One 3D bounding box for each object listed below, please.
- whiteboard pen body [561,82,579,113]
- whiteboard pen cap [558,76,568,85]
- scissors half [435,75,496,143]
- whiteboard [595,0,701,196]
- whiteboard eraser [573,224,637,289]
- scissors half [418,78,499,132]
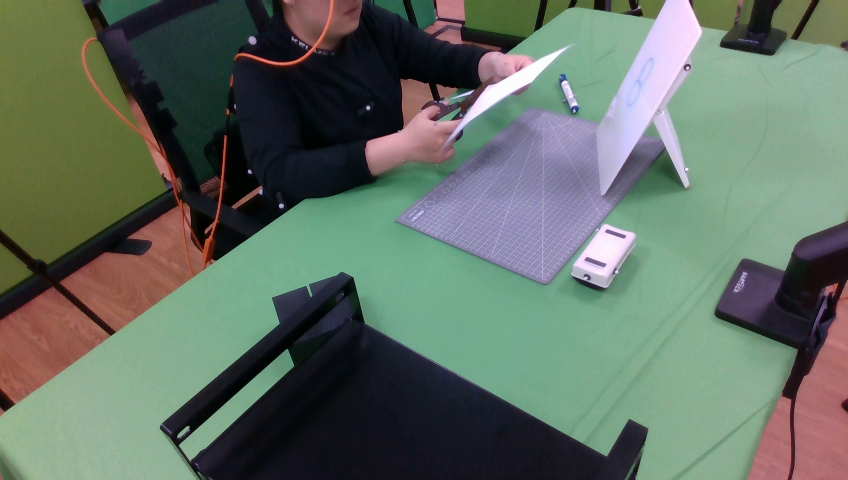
[{"bbox_3d":[0.310,-0.312,1.297,0.017,0.017,0.140,-6,42,3],"label":"whiteboard pen body"},{"bbox_3d":[0.310,-0.350,1.341,0.018,0.018,0.033,-6,41,2],"label":"whiteboard pen cap"},{"bbox_3d":[0.075,-0.231,1.078,0.040,0.174,0.013,17,49,-25],"label":"scissors half"},{"bbox_3d":[0.421,-0.227,1.010,0.144,0.305,0.216,18,42,-2],"label":"whiteboard"},{"bbox_3d":[0.267,0.025,0.891,0.055,0.042,0.113,19,47,31],"label":"whiteboard eraser"},{"bbox_3d":[0.059,-0.241,1.066,0.174,0.040,0.012,-25,43,28],"label":"scissors half"}]
